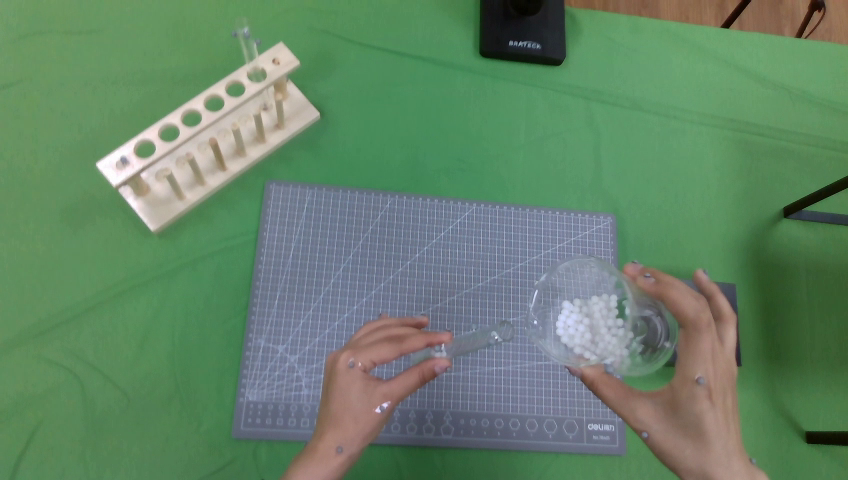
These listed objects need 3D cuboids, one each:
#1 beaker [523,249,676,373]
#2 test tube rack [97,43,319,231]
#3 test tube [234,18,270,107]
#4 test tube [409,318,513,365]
[{"bbox_3d":[0.129,0.057,0.433,0.101,0.084,0.073,22,50,-47],"label":"beaker"},{"bbox_3d":[-0.238,-0.119,0.702,0.242,0.085,0.066,-40,83,-17],"label":"test tube rack"},{"bbox_3d":[-0.190,-0.194,0.679,0.017,0.151,0.017,2,71,-5],"label":"test tube"},{"bbox_3d":[0.025,0.086,0.501,0.017,0.150,0.017,10,67,-26],"label":"test tube"}]
